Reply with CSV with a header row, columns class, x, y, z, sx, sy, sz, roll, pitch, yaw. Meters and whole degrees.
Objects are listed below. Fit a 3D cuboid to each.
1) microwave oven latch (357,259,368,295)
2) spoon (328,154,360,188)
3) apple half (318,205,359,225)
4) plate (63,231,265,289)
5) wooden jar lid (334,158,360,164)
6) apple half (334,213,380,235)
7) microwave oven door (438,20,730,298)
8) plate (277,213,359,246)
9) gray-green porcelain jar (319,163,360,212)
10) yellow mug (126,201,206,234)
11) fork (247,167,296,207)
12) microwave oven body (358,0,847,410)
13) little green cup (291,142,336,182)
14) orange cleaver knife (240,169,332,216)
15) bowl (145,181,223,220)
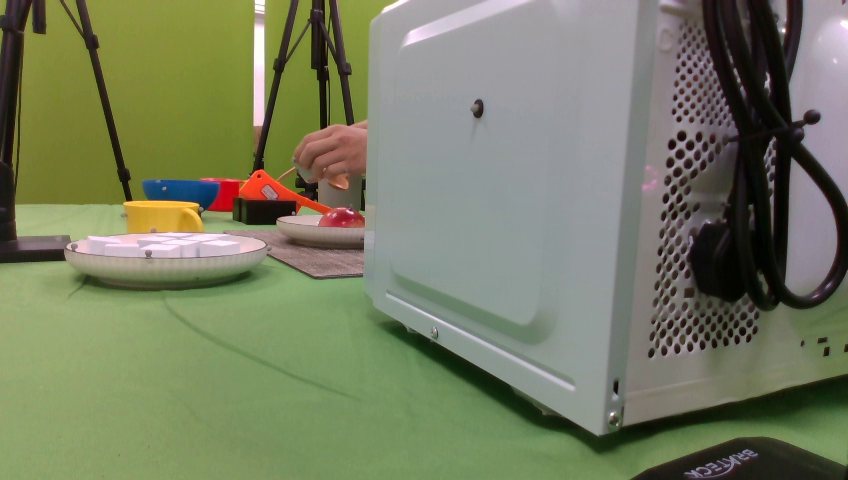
class,x,y,z,sx,sy,sz,roll,pitch,yaw
microwave oven latch,-0.019,0.031,0.529,0.079,0.029,0.030,-1,7,-26
spoon,-0.141,-0.145,1.197,0.041,0.021,0.194,27,35,1
apple half,-0.126,-0.028,0.954,0.081,0.053,0.074,-2,10,-33
plate,-0.288,0.021,0.687,0.208,0.039,0.207,2,8,0
wooden jar lid,-0.203,-0.189,1.482,0.108,0.020,0.108,2,10,0
apple half,-0.112,-0.029,1.034,0.081,0.033,0.081,0,9,0
microwave oven door,0.181,-0.076,0.618,0.358,0.243,0.039,-2,8,-28
plate,-0.135,-0.018,0.994,0.209,0.038,0.209,2,7,0
gray-green porcelain jar,-0.204,-0.126,1.489,0.106,0.126,0.106,2,7,0
yellow mug,-0.360,-0.019,0.866,0.130,0.064,0.100,6,9,27
fork,-0.360,-0.147,1.523,0.207,0.018,0.028,-43,15,-6
microwave oven body,0.210,-0.051,0.471,0.444,0.260,0.324,-1,7,-28
little green cup,-0.164,-0.116,0.911,0.061,0.038,0.061,-30,-5,-2
orange cleaver knife,-0.286,-0.082,1.298,0.212,0.077,0.012,25,-2,-31
bowl,-0.499,-0.081,1.261,0.151,0.077,0.151,2,7,0
